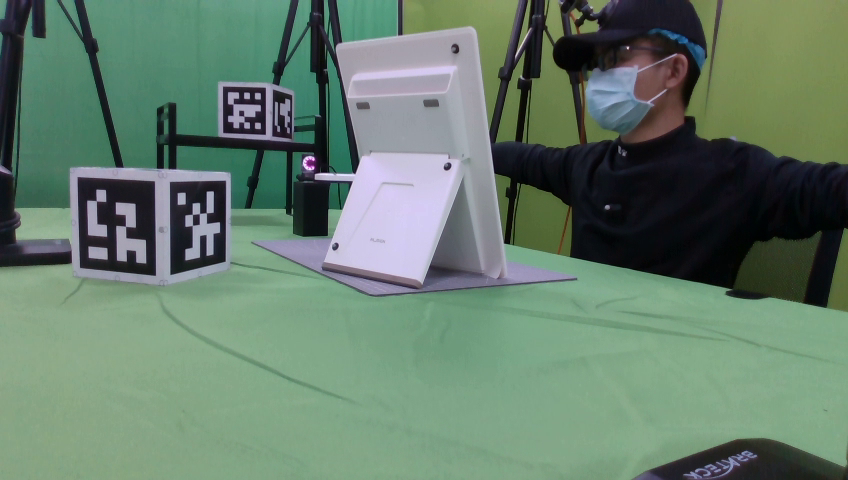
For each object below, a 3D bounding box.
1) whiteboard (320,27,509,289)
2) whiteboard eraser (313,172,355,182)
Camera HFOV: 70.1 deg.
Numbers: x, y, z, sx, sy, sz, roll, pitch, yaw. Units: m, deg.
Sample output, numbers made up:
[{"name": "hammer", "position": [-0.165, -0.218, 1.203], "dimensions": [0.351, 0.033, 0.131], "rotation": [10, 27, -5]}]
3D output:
[{"name": "whiteboard", "position": [-0.045, -0.076, 0.721], "dimensions": [0.216, 0.305, 0.144], "rotation": [9, 29, 39]}, {"name": "whiteboard eraser", "position": [-0.163, -0.121, 1.158], "dimensions": [0.102, 0.019, 0.041], "rotation": [-1, 6, -33]}]
